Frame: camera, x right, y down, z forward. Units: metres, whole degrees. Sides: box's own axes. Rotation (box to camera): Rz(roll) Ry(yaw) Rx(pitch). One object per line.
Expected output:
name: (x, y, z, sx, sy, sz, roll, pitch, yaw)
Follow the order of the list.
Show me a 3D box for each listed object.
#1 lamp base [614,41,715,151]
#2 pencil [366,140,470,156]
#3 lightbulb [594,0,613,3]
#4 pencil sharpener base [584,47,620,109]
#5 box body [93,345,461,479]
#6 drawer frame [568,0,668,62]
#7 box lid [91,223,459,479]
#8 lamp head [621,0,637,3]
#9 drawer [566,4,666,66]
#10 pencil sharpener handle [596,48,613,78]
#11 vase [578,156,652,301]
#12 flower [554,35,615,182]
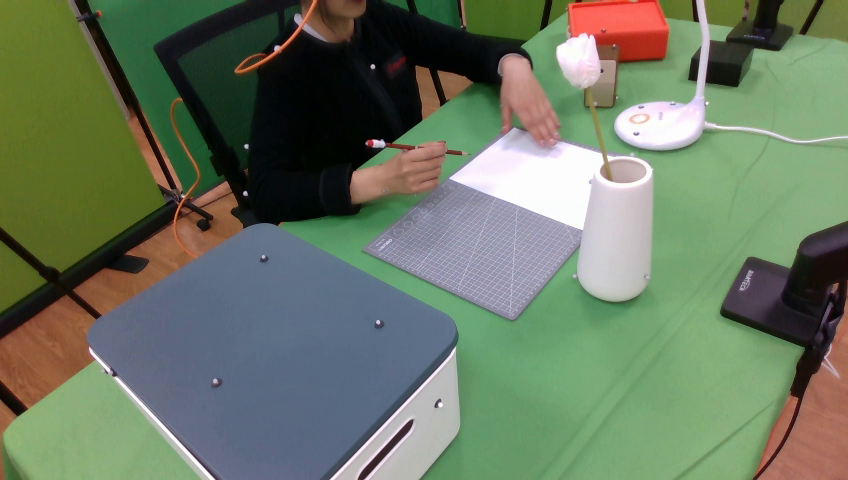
lamp base: (0.449, -0.277, 1.106, 0.179, 0.181, 0.160, 1, 41, 9)
pencil: (-0.005, -0.150, 1.001, 0.195, 0.012, 0.012, 2, 33, -28)
lightbulb: (0.305, -0.437, 0.977, 0.060, 0.107, 0.059, 12, 44, -11)
pencil sharpener base: (0.367, -0.336, 1.249, 0.061, 0.107, 0.076, 6, 42, 19)
box body: (-0.162, 0.170, 0.708, 0.361, 0.161, 0.255, 25, 50, 34)
drawer frame: (0.450, -0.496, 1.441, 0.213, 0.083, 0.201, -1, 40, 9)
box lid: (-0.174, 0.102, 0.666, 0.368, 0.015, 0.264, 24, 48, 35)
lamp head: (0.319, -0.453, 0.962, 0.113, 0.123, 0.112, 20, 33, -13)
drawer: (0.447, -0.493, 1.441, 0.211, 0.073, 0.194, 0, 40, 10)
pencil sharpener handle: (0.382, -0.378, 1.276, 0.036, 0.068, 0.030, 4, 41, 20)
vase: (0.261, -0.011, 0.812, 0.098, 0.201, 0.097, -4, 40, 4)
flower: (0.237, -0.083, 0.774, 0.044, 0.363, 0.038, -22, 26, 7)
